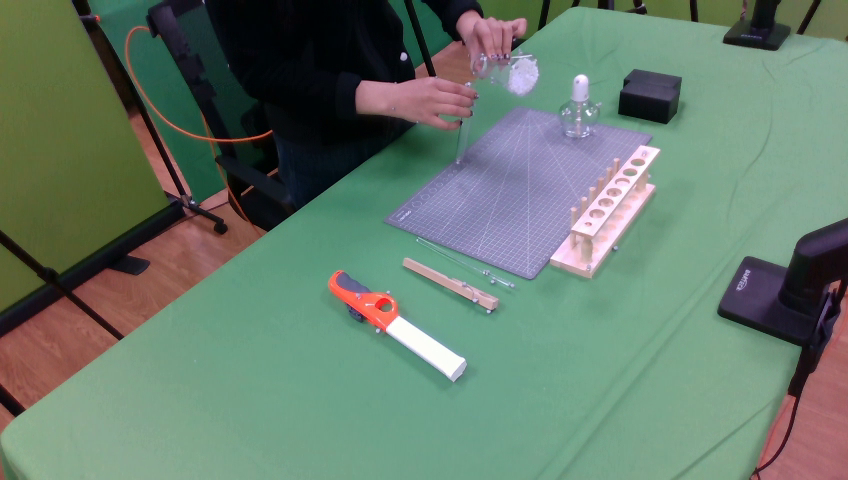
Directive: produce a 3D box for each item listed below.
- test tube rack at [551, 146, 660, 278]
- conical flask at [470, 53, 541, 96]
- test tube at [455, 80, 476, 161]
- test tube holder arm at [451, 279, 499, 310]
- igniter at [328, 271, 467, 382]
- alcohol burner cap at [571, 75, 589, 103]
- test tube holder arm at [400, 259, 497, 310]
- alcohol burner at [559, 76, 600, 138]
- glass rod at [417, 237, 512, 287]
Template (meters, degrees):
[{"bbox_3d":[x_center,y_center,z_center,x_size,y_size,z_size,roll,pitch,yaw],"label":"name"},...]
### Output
[{"bbox_3d":[0.286,-0.053,0.943,0.066,0.085,0.243,21,49,32],"label":"test tube rack"},{"bbox_3d":[0.137,-0.293,1.045,0.123,0.075,0.074,-2,30,-38],"label":"conical flask"},{"bbox_3d":[0.072,-0.206,1.059,0.017,0.150,0.017,5,34,-3],"label":"test tube"},{"bbox_3d":[0.071,0.079,0.882,0.087,0.015,0.010,23,14,34],"label":"test tube holder arm"},{"bbox_3d":[-0.049,0.114,0.854,0.274,0.025,0.057,29,63,37],"label":"igniter"},{"bbox_3d":[0.294,-0.285,1.132,0.034,0.048,0.033,-4,46,5],"label":"alcohol burner cap"},{"bbox_3d":[0.033,0.064,0.902,0.177,0.015,0.013,23,13,32],"label":"test tube holder arm"},{"bbox_3d":[0.298,-0.258,1.156,0.078,0.119,0.077,-4,39,4],"label":"alcohol burner"},{"bbox_3d":[0.059,0.032,0.945,0.198,0.008,0.008,27,52,38],"label":"glass rod"}]
